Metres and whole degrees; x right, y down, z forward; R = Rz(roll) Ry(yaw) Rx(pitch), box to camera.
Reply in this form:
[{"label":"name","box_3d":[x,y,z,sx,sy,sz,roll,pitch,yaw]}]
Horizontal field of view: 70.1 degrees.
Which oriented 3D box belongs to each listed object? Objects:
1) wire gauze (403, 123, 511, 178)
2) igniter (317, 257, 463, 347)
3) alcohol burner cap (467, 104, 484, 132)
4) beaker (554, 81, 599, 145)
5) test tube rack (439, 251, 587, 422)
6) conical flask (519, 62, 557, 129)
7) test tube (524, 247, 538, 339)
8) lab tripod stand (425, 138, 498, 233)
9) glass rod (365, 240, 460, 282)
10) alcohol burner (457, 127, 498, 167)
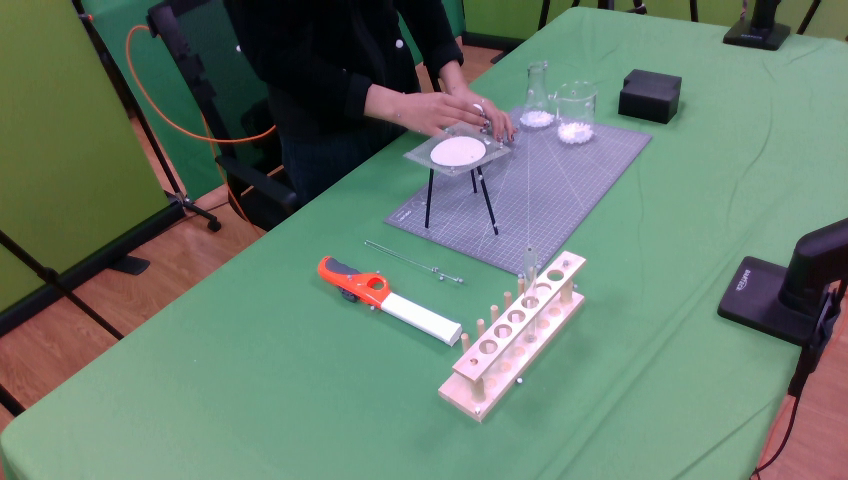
[{"label":"wire gauze","box_3d":[0.051,-0.140,0.943,0.125,0.011,0.120,-30,43,-24]},{"label":"igniter","box_3d":[-0.061,0.085,0.891,0.274,0.025,0.057,23,59,33]},{"label":"alcohol burner cap","box_3d":[0.094,-0.224,1.100,0.034,0.048,0.033,-2,47,2]},{"label":"beaker","box_3d":[0.286,-0.237,1.144,0.084,0.101,0.073,-17,40,-7]},{"label":"test tube rack","box_3d":[0.118,0.111,0.780,0.066,0.085,0.243,26,51,35]},{"label":"conical flask","box_3d":[0.225,-0.288,1.198,0.075,0.122,0.075,-6,40,5]},{"label":"test tube","box_3d":[0.133,0.070,0.749,0.017,0.151,0.017,-5,38,4]},{"label":"lab tripod stand","box_3d":[0.063,-0.091,0.988,0.148,0.132,0.147,-6,38,6]},{"label":"glass rod","box_3d":[-0.022,0.032,0.961,0.198,0.008,0.008,21,49,34]},{"label":"alcohol burner","box_3d":[0.098,-0.197,1.124,0.078,0.119,0.077,-6,38,5]}]
